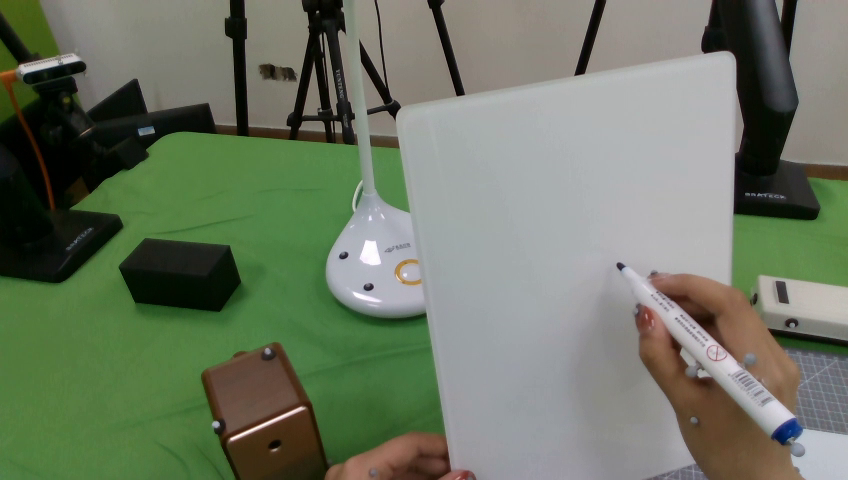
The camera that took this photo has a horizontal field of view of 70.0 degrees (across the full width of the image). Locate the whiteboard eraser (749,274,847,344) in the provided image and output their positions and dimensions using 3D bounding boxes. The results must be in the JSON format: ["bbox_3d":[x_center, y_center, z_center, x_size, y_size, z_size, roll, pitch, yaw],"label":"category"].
[{"bbox_3d":[0.365,0.067,0.561,0.112,0.042,0.055,7,37,16],"label":"whiteboard eraser"}]

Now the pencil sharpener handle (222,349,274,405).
[{"bbox_3d":[-0.139,0.104,0.481,0.036,0.068,0.030,-28,42,-15],"label":"pencil sharpener handle"}]

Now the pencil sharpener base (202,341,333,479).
[{"bbox_3d":[-0.115,0.140,0.451,0.061,0.108,0.076,-21,40,-20],"label":"pencil sharpener base"}]

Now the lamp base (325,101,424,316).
[{"bbox_3d":[-0.039,-0.041,0.624,0.161,0.182,0.177,-24,39,-24],"label":"lamp base"}]

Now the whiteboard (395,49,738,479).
[{"bbox_3d":[0.096,0.029,0.461,0.217,0.307,0.143,-12,19,-9],"label":"whiteboard"}]

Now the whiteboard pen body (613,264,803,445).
[{"bbox_3d":[0.149,0.055,0.338,0.017,0.017,0.139,-17,41,-16],"label":"whiteboard pen body"}]
